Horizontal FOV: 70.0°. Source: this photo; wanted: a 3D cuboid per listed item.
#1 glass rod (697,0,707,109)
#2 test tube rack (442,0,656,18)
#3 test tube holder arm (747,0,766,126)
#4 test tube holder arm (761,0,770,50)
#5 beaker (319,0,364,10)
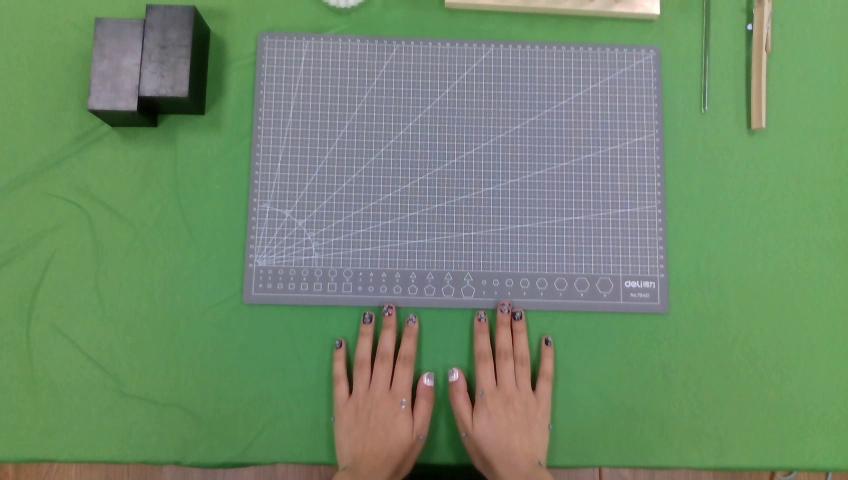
[{"bbox_3d":[0.318,-0.245,0.692,0.008,0.008,0.199,6,82,-1],"label":"glass rod"},{"bbox_3d":[0.143,-0.298,0.655,0.242,0.085,0.066,3,82,-2],"label":"test tube rack"},{"bbox_3d":[0.375,-0.215,0.682,0.013,0.015,0.178,12,81,-30],"label":"test tube holder arm"},{"bbox_3d":[0.385,-0.258,0.691,0.010,0.015,0.087,13,81,-30],"label":"test tube holder arm"},{"bbox_3d":[-0.093,-0.296,0.639,0.074,0.100,0.083,4,82,-1],"label":"beaker"}]
